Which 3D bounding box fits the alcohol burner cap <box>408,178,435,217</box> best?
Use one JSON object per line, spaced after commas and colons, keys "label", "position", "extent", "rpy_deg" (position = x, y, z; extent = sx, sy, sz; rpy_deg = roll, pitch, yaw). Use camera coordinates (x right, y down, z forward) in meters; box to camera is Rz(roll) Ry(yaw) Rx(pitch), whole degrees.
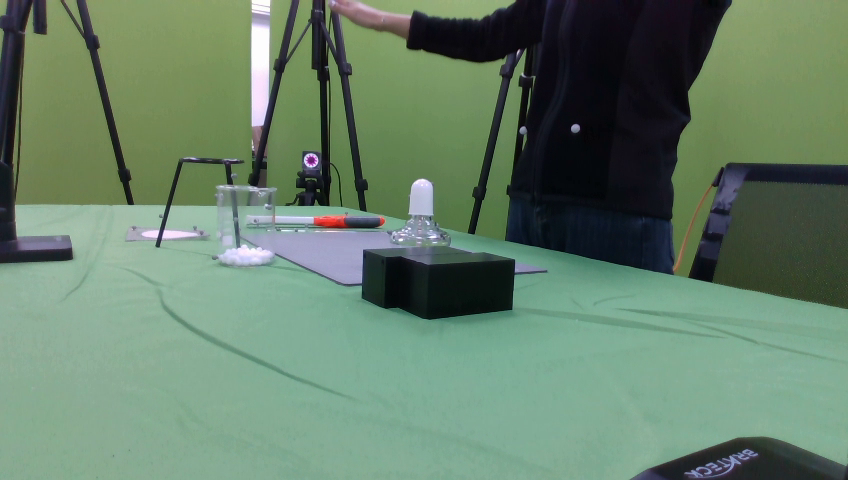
{"label": "alcohol burner cap", "position": [-0.002, -0.053, 0.746], "extent": [0.034, 0.048, 0.034], "rpy_deg": [2, 3, 0]}

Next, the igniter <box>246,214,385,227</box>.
{"label": "igniter", "position": [-0.214, -0.040, 1.216], "extent": [0.278, 0.025, 0.057], "rpy_deg": [0, -2, -23]}

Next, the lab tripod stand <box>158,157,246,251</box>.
{"label": "lab tripod stand", "position": [-0.314, -0.055, 0.891], "extent": [0.148, 0.131, 0.148], "rpy_deg": [2, 9, 0]}

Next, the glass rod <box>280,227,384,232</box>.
{"label": "glass rod", "position": [-0.175, -0.021, 1.162], "extent": [0.200, 0.008, 0.008], "rpy_deg": [1, 7, -15]}

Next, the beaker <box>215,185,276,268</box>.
{"label": "beaker", "position": [-0.226, -0.019, 0.773], "extent": [0.074, 0.100, 0.084], "rpy_deg": [5, 7, 14]}

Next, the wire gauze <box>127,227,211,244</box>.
{"label": "wire gauze", "position": [-0.420, -0.010, 0.999], "extent": [0.122, 0.011, 0.124], "rpy_deg": [-2, 10, -24]}

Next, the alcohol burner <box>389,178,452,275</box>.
{"label": "alcohol burner", "position": [-0.004, -0.017, 0.749], "extent": [0.078, 0.119, 0.078], "rpy_deg": [1, 9, 0]}
